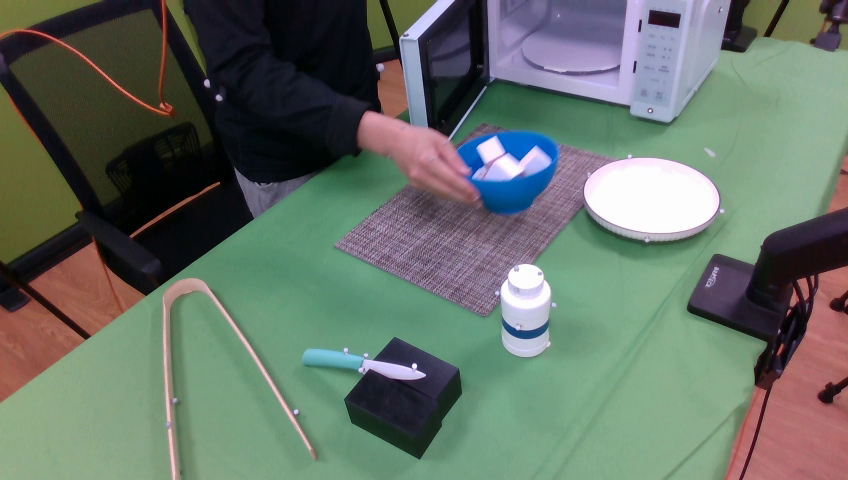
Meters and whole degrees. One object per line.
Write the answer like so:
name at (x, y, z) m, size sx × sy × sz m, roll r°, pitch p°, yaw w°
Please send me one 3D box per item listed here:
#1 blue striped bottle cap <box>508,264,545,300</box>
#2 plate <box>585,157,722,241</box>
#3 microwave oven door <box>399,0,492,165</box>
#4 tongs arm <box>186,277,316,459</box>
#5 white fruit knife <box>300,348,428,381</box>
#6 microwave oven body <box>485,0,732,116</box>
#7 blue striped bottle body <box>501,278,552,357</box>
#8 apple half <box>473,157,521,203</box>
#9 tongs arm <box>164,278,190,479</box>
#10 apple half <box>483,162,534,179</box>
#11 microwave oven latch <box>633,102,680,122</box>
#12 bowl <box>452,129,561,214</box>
blue striped bottle cap at (0.125, 0.050, 0.735) m, size 0.044 × 0.021 × 0.044 m, roll -5°, pitch 39°, yaw 5°
plate at (0.367, -0.063, 0.979) m, size 0.207 × 0.039 × 0.206 m, roll -4°, pitch 40°, yaw 4°
microwave oven door at (0.054, -0.344, 1.167) m, size 0.039 × 0.245 × 0.356 m, roll 11°, pitch 44°, yaw 21°
tongs arm at (-0.241, 0.154, 0.815) m, size 0.028 × 0.028 × 0.384 m, roll -31°, pitch 46°, yaw -21°
white fruit knife at (-0.079, 0.154, 0.748) m, size 0.206 × 0.027 × 0.016 m, roll 1°, pitch 21°, yaw 34°
microwave oven body at (0.377, -0.462, 1.267) m, size 0.438 × 0.261 × 0.327 m, roll 21°, pitch 48°, yaw 30°
blue striped bottle body at (0.129, 0.089, 0.769) m, size 0.063 × 0.121 × 0.063 m, roll -4°, pitch 40°, yaw 4°
apple half at (0.128, -0.107, 1.030) m, size 0.080 × 0.075 × 0.053 m, roll 4°, pitch 38°, yaw 19°
tongs arm at (-0.313, 0.182, 0.789) m, size 0.051 × 0.026 × 0.381 m, roll -19°, pitch 41°, yaw -14°
apple half at (0.116, -0.092, 0.854) m, size 0.081 × 0.033 × 0.081 m, roll -7°, pitch 33°, yaw 5°
microwave oven latch at (0.443, -0.249, 1.157) m, size 0.078 × 0.029 × 0.030 m, roll 21°, pitch 49°, yaw 30°
bowl at (0.118, -0.090, 0.857) m, size 0.151 × 0.077 × 0.150 m, roll -6°, pitch 35°, yaw 5°
